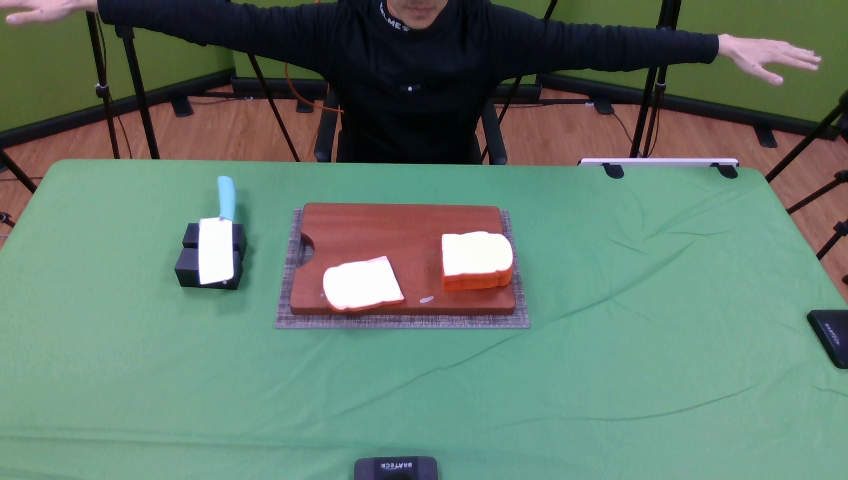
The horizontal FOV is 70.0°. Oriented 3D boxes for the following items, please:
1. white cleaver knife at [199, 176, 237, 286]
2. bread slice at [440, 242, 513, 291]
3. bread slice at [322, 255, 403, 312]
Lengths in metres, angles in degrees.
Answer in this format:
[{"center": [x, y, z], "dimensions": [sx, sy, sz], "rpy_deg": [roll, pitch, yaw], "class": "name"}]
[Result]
[{"center": [-0.386, -0.026, 1.134], "dimensions": [0.066, 0.021, 0.284], "rpy_deg": [-5, 45, -11], "class": "white cleaver knife"}, {"center": [0.096, 0.047, 1.116], "dimensions": [0.134, 0.018, 0.106], "rpy_deg": [-1, 49, 2], "class": "bread slice"}, {"center": [-0.114, 0.080, 1.068], "dimensions": [0.132, 0.019, 0.104], "rpy_deg": [-10, 51, -18], "class": "bread slice"}]
